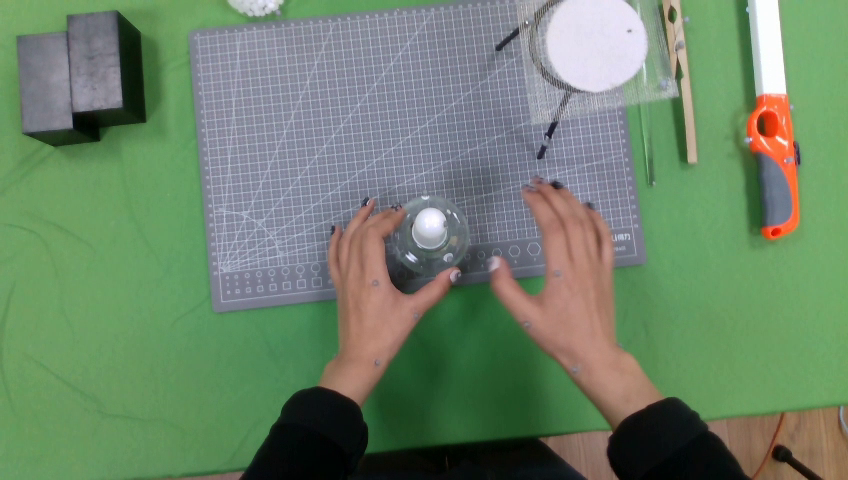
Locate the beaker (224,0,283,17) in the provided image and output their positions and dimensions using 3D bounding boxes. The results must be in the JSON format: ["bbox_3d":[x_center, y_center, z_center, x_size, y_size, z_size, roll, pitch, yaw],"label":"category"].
[{"bbox_3d":[-0.184,-0.276,0.604,0.084,0.100,0.074,12,85,2],"label":"beaker"}]

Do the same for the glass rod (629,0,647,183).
[{"bbox_3d":[0.228,-0.160,0.644,0.008,0.008,0.199,-3,89,-1],"label":"glass rod"}]

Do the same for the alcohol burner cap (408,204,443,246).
[{"bbox_3d":[0.003,-0.016,0.539,0.034,0.048,0.033,1,77,-4],"label":"alcohol burner cap"}]

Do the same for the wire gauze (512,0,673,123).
[{"bbox_3d":[0.139,-0.168,0.511,0.121,0.011,0.125,-8,85,0],"label":"wire gauze"}]

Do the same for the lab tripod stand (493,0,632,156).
[{"bbox_3d":[0.128,-0.166,0.578,0.148,0.131,0.148,0,86,2],"label":"lab tripod stand"}]

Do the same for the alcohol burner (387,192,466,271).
[{"bbox_3d":[0.002,-0.010,0.575,0.078,0.119,0.077,0,83,1],"label":"alcohol burner"}]

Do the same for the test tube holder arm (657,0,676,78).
[{"bbox_3d":[0.260,-0.216,0.644,0.010,0.015,0.087,-10,85,36],"label":"test tube holder arm"}]

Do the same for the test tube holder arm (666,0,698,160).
[{"bbox_3d":[0.271,-0.173,0.638,0.013,0.015,0.178,-11,84,35],"label":"test tube holder arm"}]

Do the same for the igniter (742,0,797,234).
[{"bbox_3d":[0.358,-0.143,0.634,0.057,0.025,0.276,-1,85,-11],"label":"igniter"}]
